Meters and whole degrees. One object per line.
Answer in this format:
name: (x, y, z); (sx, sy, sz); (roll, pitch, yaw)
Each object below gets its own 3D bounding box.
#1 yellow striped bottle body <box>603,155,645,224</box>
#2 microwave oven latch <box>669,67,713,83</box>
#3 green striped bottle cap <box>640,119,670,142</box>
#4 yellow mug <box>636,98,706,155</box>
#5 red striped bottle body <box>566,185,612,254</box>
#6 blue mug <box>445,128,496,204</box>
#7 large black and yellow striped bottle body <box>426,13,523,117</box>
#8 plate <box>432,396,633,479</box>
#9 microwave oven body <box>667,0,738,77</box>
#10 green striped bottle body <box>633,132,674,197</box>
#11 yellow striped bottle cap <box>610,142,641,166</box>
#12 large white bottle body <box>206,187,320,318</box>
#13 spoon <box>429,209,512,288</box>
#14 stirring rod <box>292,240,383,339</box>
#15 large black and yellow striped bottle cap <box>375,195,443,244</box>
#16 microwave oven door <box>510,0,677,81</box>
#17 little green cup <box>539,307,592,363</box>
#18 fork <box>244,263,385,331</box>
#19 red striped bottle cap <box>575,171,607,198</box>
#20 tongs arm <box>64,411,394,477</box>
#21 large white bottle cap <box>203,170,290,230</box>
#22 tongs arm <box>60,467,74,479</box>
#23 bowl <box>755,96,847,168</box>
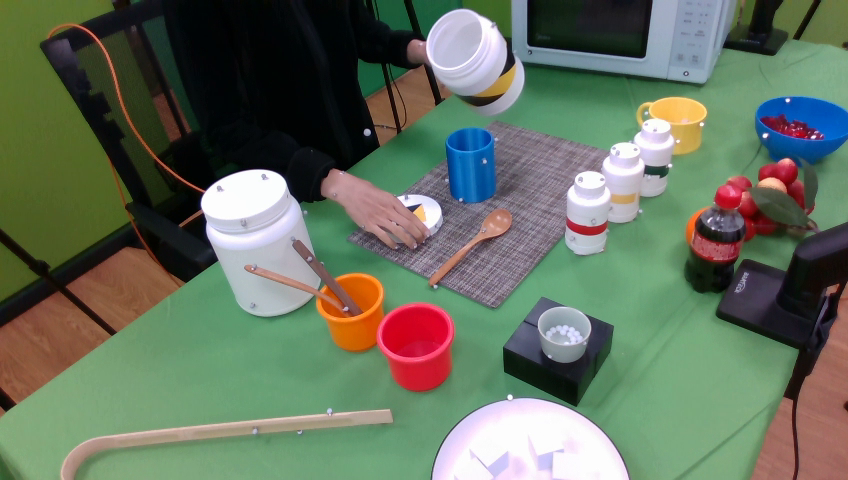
yellow striped bottle body: (0.314, -0.090, 0.957); (0.063, 0.121, 0.062); (-4, 40, 4)
microwave oven latch: (0.556, -0.349, 1.261); (0.078, 0.029, 0.030); (16, 46, 27)
green striped bottle cap: (0.371, -0.174, 0.968); (0.044, 0.020, 0.044); (-3, 41, 3)
yellow mug: (0.453, -0.217, 1.128); (0.100, 0.064, 0.129); (-34, 46, -28)
red striped bottle body: (0.248, -0.041, 0.910); (0.063, 0.120, 0.062); (-4, 41, 4)
blue mug: (0.083, -0.139, 1.058); (0.082, 0.106, 0.116); (-2, 40, 7)
large black and yellow striped bottle body: (0.091, -0.314, 1.089); (0.130, 0.185, 0.130); (-6, 76, 27)
plate: (0.112, 0.261, 0.634); (0.209, 0.038, 0.208); (-5, 40, 4)
microwave oven body: (0.462, -0.552, 1.369); (0.439, 0.261, 0.326); (15, 45, 26)
green striped bottle body: (0.376, -0.135, 1.001); (0.063, 0.120, 0.063); (-5, 41, 5)
yellow striped bottle cap: (0.308, -0.131, 0.925); (0.044, 0.019, 0.044); (-4, 45, 4)
large white bottle body: (-0.233, 0.008, 0.876); (0.130, 0.185, 0.130); (-4, 40, 4)
spoon: (0.072, 0.012, 0.945); (0.041, 0.021, 0.194); (41, 57, 16)
stirring rod: (-0.118, 0.068, 0.826); (0.176, 0.006, 0.014); (48, 59, -4)
large black and yellow striped bottle cap: (-0.026, -0.036, 1.022); (0.115, 0.019, 0.114); (-3, 41, 3)
microwave oven door: (0.354, -0.478, 1.290); (0.353, 0.245, 0.039); (15, 45, 25)
little green cup: (0.168, 0.115, 0.721); (0.061, 0.039, 0.061); (-4, 42, 4)
fork: (-0.142, 0.077, 0.807); (0.209, 0.018, 0.028); (30, 41, -24)
red striped bottle cap: (0.242, -0.082, 0.876); (0.044, 0.018, 0.044); (-5, 44, 5)
tongs arm: (-0.228, 0.241, 0.715); (0.385, 0.026, 0.050); (-5, 43, 4)
large white bottle cap: (-0.241, -0.057, 0.822); (0.115, 0.018, 0.114); (-4, 40, 4)
tongs arm: (-0.239, 0.301, 0.648); (0.386, 0.028, 0.028); (6, 49, 16)
bowl: (0.645, -0.177, 1.041); (0.151, 0.077, 0.150); (-5, 40, 4)
